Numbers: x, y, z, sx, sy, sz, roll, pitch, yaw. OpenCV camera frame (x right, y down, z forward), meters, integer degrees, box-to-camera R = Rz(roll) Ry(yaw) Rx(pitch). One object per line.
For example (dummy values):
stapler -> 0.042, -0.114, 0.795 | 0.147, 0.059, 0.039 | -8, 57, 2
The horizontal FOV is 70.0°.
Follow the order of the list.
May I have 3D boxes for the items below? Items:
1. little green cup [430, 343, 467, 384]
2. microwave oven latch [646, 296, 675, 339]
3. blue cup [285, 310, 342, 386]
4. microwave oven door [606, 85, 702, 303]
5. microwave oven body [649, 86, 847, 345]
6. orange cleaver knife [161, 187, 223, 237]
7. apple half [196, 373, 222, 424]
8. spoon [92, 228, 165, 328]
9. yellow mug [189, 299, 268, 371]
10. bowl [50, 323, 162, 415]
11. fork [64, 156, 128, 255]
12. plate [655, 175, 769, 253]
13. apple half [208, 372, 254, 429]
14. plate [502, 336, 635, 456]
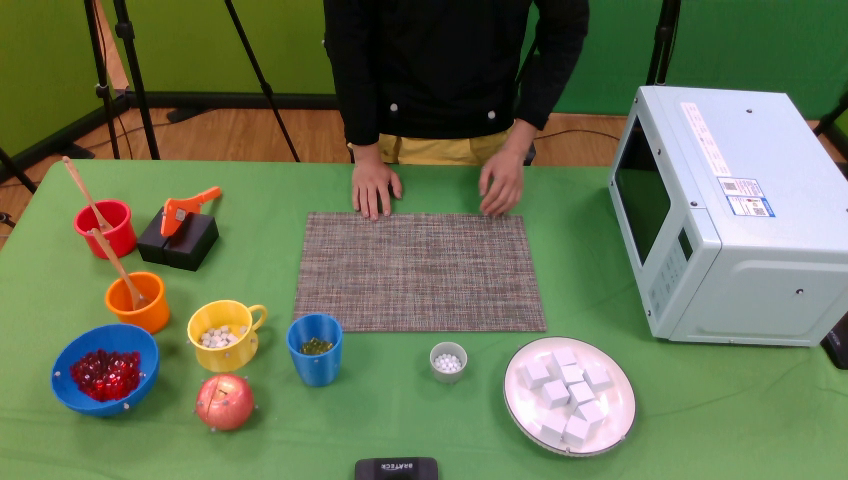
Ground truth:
little green cup -> 0.039, 0.203, 0.994 | 0.061, 0.039, 0.061 | 2, 46, -2
microwave oven latch -> 0.412, 0.134, 1.061 | 0.030, 0.029, 0.078 | 4, 45, 1
blue cup -> -0.170, 0.179, 0.958 | 0.093, 0.101, 0.092 | 1, 44, -1
microwave oven door -> 0.423, -0.094, 1.140 | 0.039, 0.245, 0.353 | 2, 46, -1
microwave oven body -> 0.568, -0.053, 1.118 | 0.326, 0.261, 0.439 | 2, 45, -1
orange cleaver knife -> -0.448, -0.058, 1.180 | 0.012, 0.077, 0.211 | 13, 17, 6
apple half -> -0.322, 0.240, 0.907 | 0.033, 0.081, 0.081 | 7, 46, -1
spoon -> -0.496, 0.063, 1.014 | 0.041, 0.194, 0.021 | -34, 13, -32
yellow mug -> -0.316, 0.148, 1.002 | 0.131, 0.064, 0.099 | -32, 56, -31
bowl -> -0.472, 0.209, 0.924 | 0.151, 0.077, 0.150 | 3, 45, -2
fork -> -0.614, -0.064, 1.130 | 0.028, 0.018, 0.207 | -30, 97, -17
plate -> 0.555, -0.047, 1.183 | 0.209, 0.038, 0.208 | 1, 45, -1
apple half -> -0.283, 0.244, 0.908 | 0.053, 0.075, 0.080 | 7, 43, -1
plate -> 0.225, 0.248, 0.963 | 0.208, 0.039, 0.206 | 2, 46, -2
